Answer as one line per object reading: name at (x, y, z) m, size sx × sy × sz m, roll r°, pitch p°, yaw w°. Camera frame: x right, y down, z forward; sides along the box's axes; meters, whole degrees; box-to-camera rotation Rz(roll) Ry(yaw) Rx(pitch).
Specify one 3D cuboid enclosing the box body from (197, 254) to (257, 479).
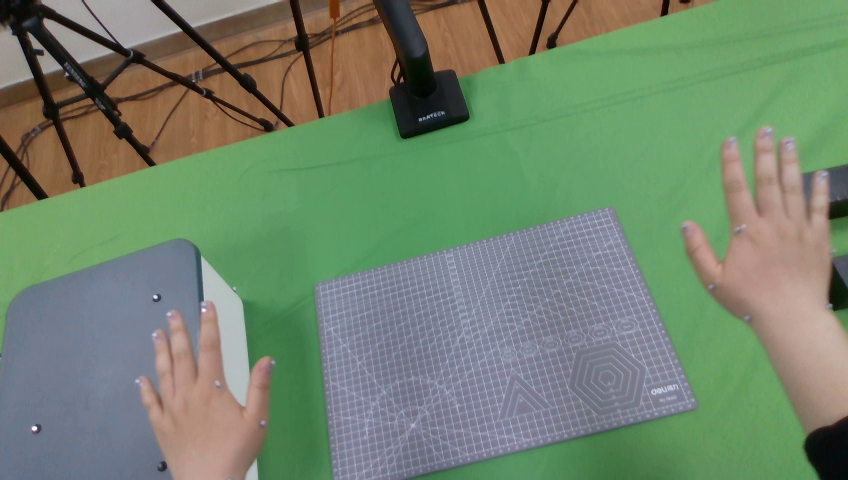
box body at (-0.361, 0.216, 0.755) m, size 0.254 × 0.162 × 0.360 m, roll -17°, pitch 59°, yaw 1°

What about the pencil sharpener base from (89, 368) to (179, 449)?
pencil sharpener base at (-0.370, 0.221, 0.779) m, size 0.061 × 0.108 × 0.076 m, roll -19°, pitch 61°, yaw 0°

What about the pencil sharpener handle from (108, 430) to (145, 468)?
pencil sharpener handle at (-0.360, 0.258, 0.744) m, size 0.036 × 0.068 × 0.030 m, roll -15°, pitch 61°, yaw -8°

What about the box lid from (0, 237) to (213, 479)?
box lid at (-0.375, 0.178, 0.692) m, size 0.263 × 0.015 × 0.367 m, roll -18°, pitch 60°, yaw 2°
